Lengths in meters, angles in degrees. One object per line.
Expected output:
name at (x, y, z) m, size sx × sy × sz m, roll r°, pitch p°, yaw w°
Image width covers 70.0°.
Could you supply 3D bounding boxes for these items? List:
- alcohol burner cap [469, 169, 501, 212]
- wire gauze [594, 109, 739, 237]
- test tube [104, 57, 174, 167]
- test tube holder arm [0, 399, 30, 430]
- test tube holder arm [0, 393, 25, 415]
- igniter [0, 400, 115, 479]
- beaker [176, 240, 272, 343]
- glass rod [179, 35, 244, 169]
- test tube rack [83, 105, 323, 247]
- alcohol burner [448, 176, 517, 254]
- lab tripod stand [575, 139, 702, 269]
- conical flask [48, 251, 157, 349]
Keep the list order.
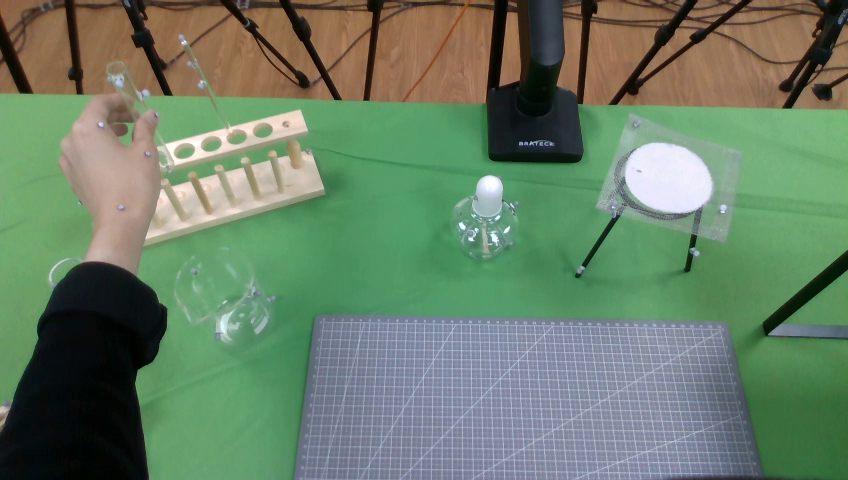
alcohol burner cap at (0.066, -0.055, 0.639) m, size 0.034 × 0.048 × 0.033 m, roll 1°, pitch 59°, yaw 0°
wire gauze at (0.244, -0.068, 0.599) m, size 0.121 × 0.011 × 0.124 m, roll 20°, pitch 63°, yaw 9°
test tube at (-0.250, -0.108, 0.541) m, size 0.017 × 0.151 × 0.017 m, roll 3°, pitch 66°, yaw -5°
test tube holder arm at (-0.401, 0.177, 0.544) m, size 0.088 × 0.015 × 0.010 m, roll -38°, pitch 66°, yaw -20°
test tube holder arm at (-0.438, 0.200, 0.530) m, size 0.178 × 0.015 × 0.013 m, roll -40°, pitch 67°, yaw -21°
igniter at (-0.393, 0.239, 0.505) m, size 0.276 × 0.025 × 0.057 m, roll -39°, pitch 69°, yaw -24°
beaker at (-0.202, 0.060, 0.622) m, size 0.074 × 0.101 × 0.083 m, roll 14°, pitch 62°, yaw 9°
glass rod at (-0.225, -0.138, 0.666) m, size 0.008 × 0.201 × 0.008 m, roll -3°, pitch 54°, yaw 5°
test tube rack at (-0.249, -0.074, 0.706) m, size 0.243 × 0.086 × 0.066 m, roll -18°, pitch 62°, yaw -10°
alcohol burner at (0.067, -0.035, 0.670) m, size 0.078 × 0.120 × 0.077 m, roll 1°, pitch 59°, yaw -1°
lab tripod stand at (0.236, -0.033, 0.657) m, size 0.148 × 0.132 × 0.147 m, roll 1°, pitch 59°, yaw -1°
conical flask at (-0.327, 0.056, 0.609) m, size 0.075 × 0.123 × 0.074 m, roll 0°, pitch 60°, yaw 0°
